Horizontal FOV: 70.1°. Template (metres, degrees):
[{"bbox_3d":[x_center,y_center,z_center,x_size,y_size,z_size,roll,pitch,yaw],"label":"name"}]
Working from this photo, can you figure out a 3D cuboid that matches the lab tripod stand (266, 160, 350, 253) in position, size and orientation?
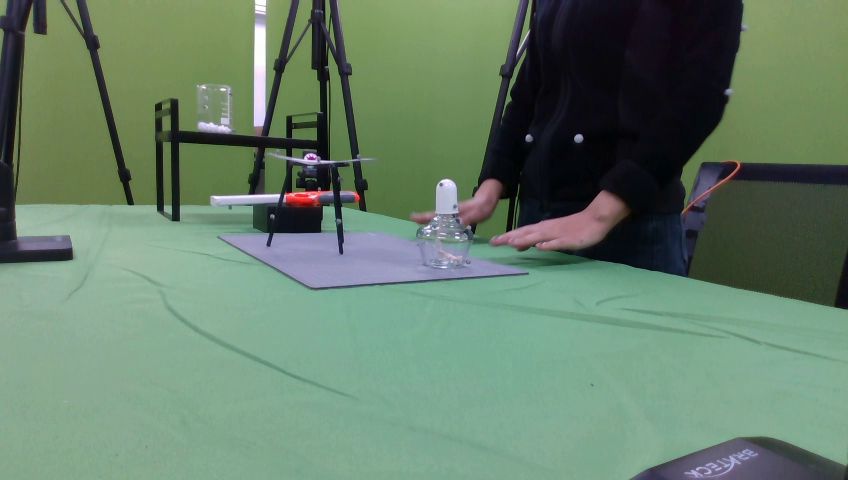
[{"bbox_3d":[-0.163,-0.054,0.915,0.148,0.131,0.148,2,9,0],"label":"lab tripod stand"}]

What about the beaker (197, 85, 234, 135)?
[{"bbox_3d":[-0.444,-0.275,1.283,0.074,0.100,0.084,5,8,22],"label":"beaker"}]

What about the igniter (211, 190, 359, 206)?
[{"bbox_3d":[-0.256,-0.079,1.148,0.278,0.025,0.057,-4,12,-30],"label":"igniter"}]

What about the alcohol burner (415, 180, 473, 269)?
[{"bbox_3d":[0.028,-0.021,0.807,0.078,0.119,0.078,3,5,0],"label":"alcohol burner"}]

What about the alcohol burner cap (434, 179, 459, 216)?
[{"bbox_3d":[0.031,-0.057,0.802,0.034,0.048,0.034,-1,10,0],"label":"alcohol burner cap"}]

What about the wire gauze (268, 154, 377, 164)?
[{"bbox_3d":[-0.154,-0.120,0.910,0.122,0.011,0.124,-5,11,-44],"label":"wire gauze"}]
